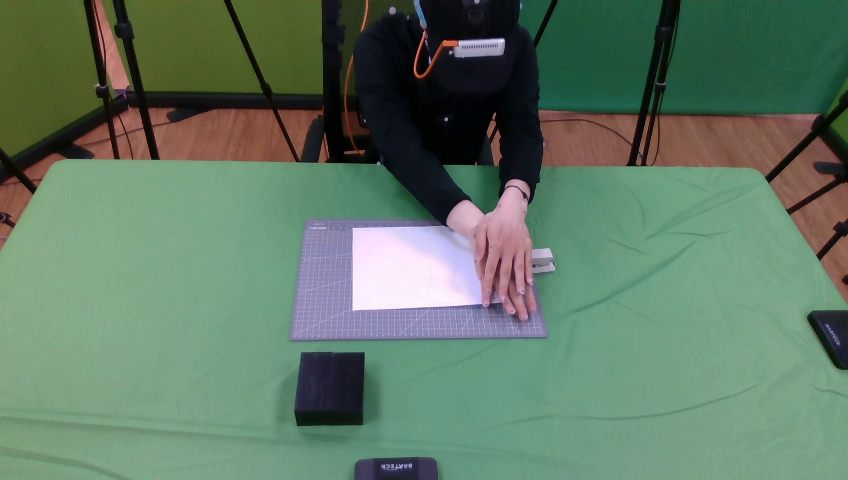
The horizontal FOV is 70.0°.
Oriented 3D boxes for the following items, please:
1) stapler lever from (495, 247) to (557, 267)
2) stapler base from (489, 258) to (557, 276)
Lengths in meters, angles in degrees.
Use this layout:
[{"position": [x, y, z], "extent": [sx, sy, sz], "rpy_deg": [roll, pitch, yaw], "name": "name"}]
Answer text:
[{"position": [0.193, 0.029, 1.150], "extent": [0.118, 0.040, 0.026], "rpy_deg": [-9, 52, -4], "name": "stapler lever"}, {"position": [0.191, 0.042, 1.163], "extent": [0.131, 0.024, 0.041], "rpy_deg": [-5, 52, -10], "name": "stapler base"}]
